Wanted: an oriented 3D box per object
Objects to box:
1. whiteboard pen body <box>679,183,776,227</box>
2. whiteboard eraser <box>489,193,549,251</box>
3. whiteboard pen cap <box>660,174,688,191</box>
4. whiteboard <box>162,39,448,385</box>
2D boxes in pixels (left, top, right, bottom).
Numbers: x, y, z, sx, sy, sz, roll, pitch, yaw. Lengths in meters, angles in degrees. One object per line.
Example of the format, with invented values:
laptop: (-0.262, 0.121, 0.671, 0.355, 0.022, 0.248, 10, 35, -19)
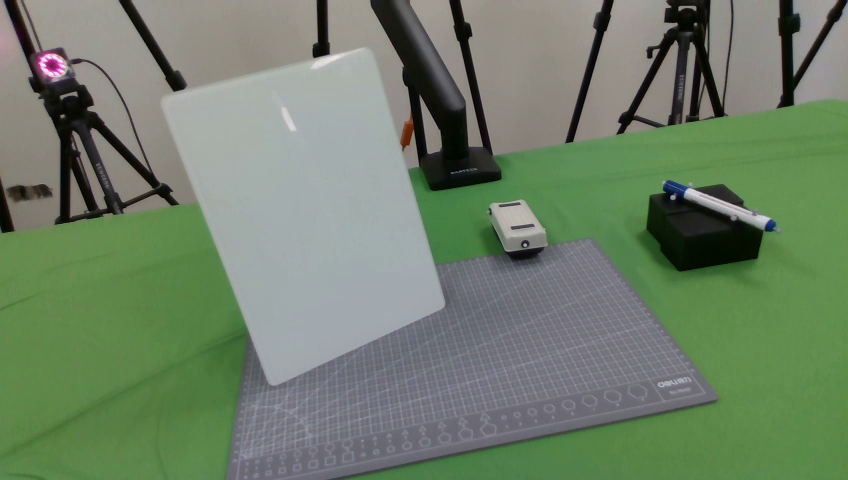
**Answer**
whiteboard pen body: (0.357, -0.048, 0.734, 0.017, 0.017, 0.139, -24, 36, -25)
whiteboard eraser: (0.124, -0.024, 0.808, 0.055, 0.042, 0.111, -10, 29, -2)
whiteboard pen cap: (0.321, -0.073, 0.778, 0.033, 0.018, 0.018, -12, 28, 26)
whiteboard: (-0.133, -0.038, 0.683, 0.217, 0.307, 0.143, -22, 16, -22)
